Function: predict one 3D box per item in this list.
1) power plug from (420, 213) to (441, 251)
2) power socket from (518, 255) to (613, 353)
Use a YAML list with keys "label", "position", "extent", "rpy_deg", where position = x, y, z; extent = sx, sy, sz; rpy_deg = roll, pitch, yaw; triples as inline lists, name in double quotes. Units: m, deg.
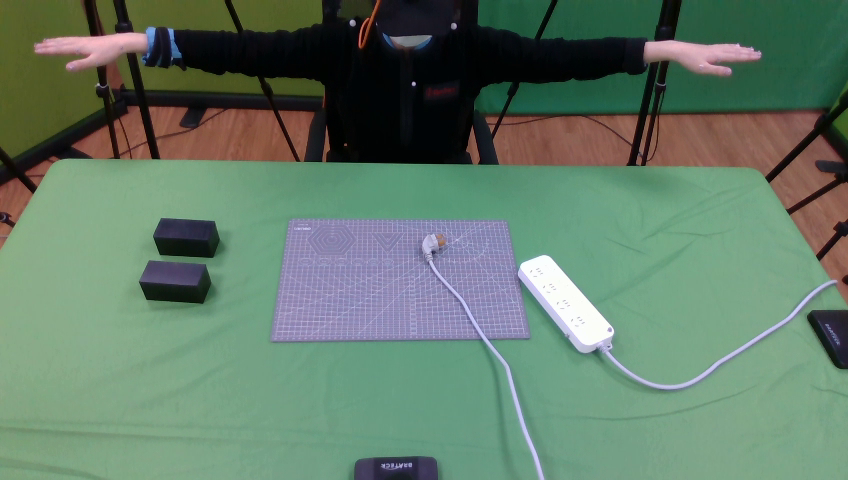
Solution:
- label: "power plug"
  position: [0.014, -0.015, 1.169]
  extent: [0.035, 0.072, 0.052]
  rpy_deg: [6, 13, -10]
- label: "power socket"
  position: [0.253, 0.112, 1.099]
  extent: [0.072, 0.033, 0.225]
  rpy_deg: [-19, 51, -20]
